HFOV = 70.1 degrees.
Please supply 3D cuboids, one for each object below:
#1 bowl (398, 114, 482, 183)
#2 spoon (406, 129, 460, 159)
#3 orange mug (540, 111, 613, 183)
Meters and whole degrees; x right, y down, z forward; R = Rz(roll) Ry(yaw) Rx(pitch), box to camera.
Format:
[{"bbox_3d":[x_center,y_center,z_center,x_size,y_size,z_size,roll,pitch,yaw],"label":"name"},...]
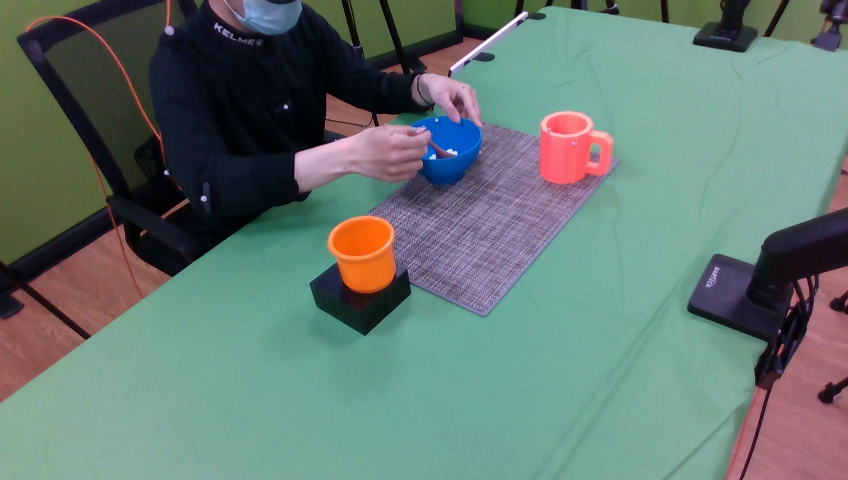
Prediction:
[{"bbox_3d":[0.032,-0.156,1.097,0.151,0.077,0.150,-4,41,4],"label":"bowl"},{"bbox_3d":[0.013,-0.160,1.018,0.041,0.195,0.021,-14,76,23],"label":"spoon"},{"bbox_3d":[0.263,-0.159,1.052,0.125,0.101,0.083,13,44,28],"label":"orange mug"}]
